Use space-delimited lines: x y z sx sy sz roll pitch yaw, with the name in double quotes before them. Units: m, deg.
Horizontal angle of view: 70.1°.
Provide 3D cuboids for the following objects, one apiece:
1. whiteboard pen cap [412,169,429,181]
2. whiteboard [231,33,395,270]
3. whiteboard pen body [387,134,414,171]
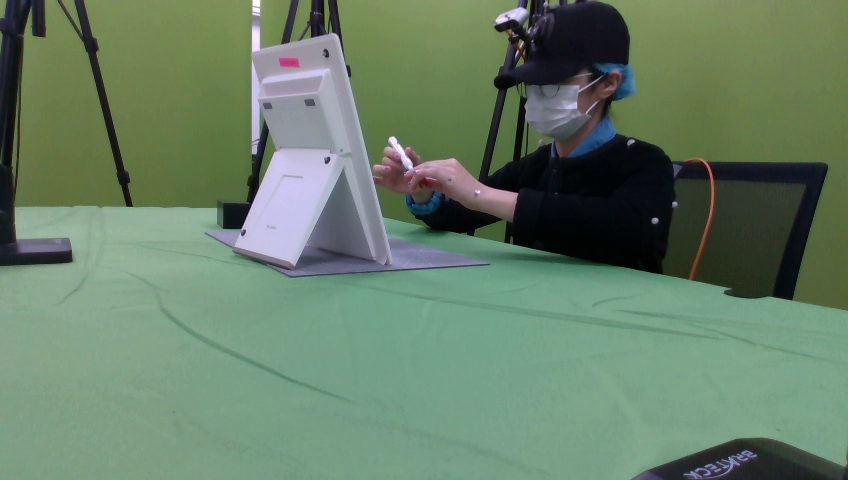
"whiteboard pen cap" -0.006 -0.108 1.001 0.017 0.017 0.032 -2 14 -30
"whiteboard" -0.193 -0.094 0.805 0.144 0.305 0.216 -28 25 -35
"whiteboard pen body" -0.040 -0.155 1.078 0.017 0.017 0.140 -1 33 -22
